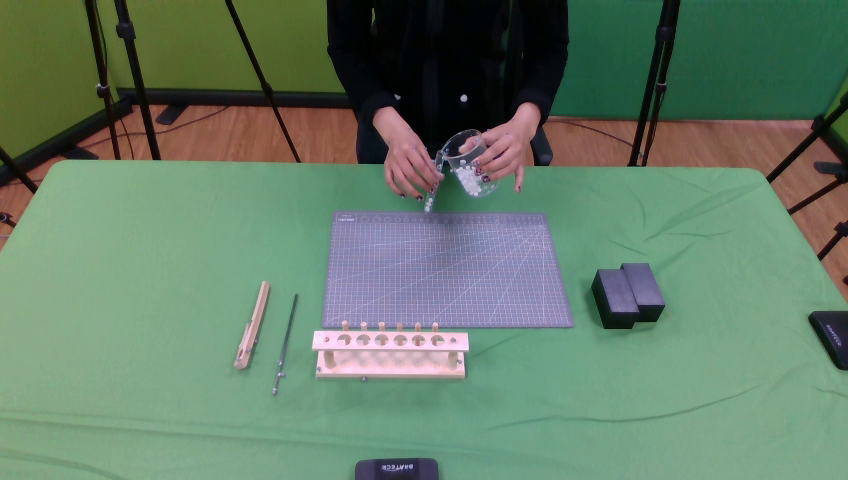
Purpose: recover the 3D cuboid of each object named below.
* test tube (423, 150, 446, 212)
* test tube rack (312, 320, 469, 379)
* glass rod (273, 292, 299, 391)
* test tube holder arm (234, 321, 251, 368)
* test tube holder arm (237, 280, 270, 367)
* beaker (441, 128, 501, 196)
[{"bbox_3d":[0.018,-0.105,1.106,0.017,0.151,0.017,6,49,-7],"label":"test tube"},{"bbox_3d":[-0.054,0.173,0.984,0.242,0.085,0.066,1,46,-3],"label":"test tube rack"},{"bbox_3d":[-0.233,0.167,1.030,0.008,0.008,0.198,3,46,0],"label":"glass rod"},{"bbox_3d":[-0.299,0.173,1.013,0.010,0.015,0.087,-16,42,22],"label":"test tube holder arm"},{"bbox_3d":[-0.290,0.139,1.042,0.013,0.015,0.177,-17,42,22],"label":"test tube holder arm"},{"bbox_3d":[0.084,-0.132,1.057,0.084,0.101,0.073,-8,43,30],"label":"beaker"}]
